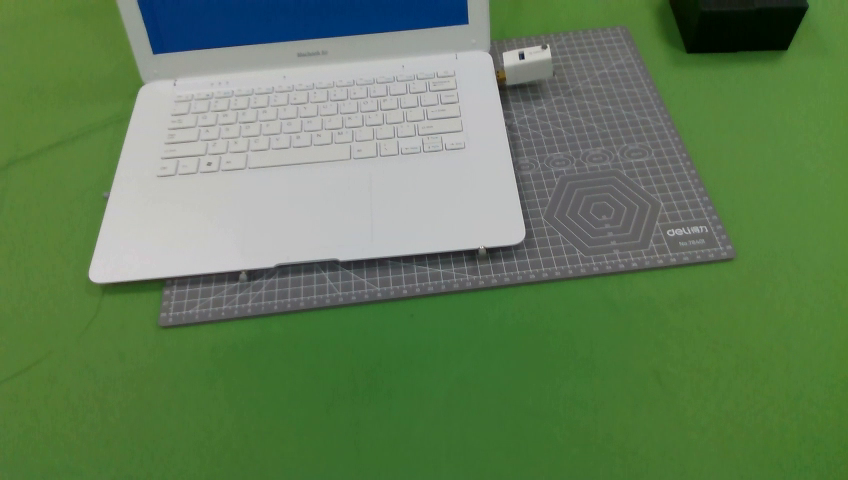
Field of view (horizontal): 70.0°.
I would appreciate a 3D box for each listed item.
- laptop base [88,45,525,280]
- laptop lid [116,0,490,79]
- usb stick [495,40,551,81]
[{"bbox_3d":[-0.102,-0.078,0.547,0.354,0.023,0.233,-5,58,1],"label":"laptop base"},{"bbox_3d":[-0.119,-0.275,0.554,0.357,0.243,0.013,-7,30,1],"label":"laptop lid"},{"bbox_3d":[0.090,-0.169,0.576,0.059,0.027,0.021,-9,57,12],"label":"usb stick"}]
